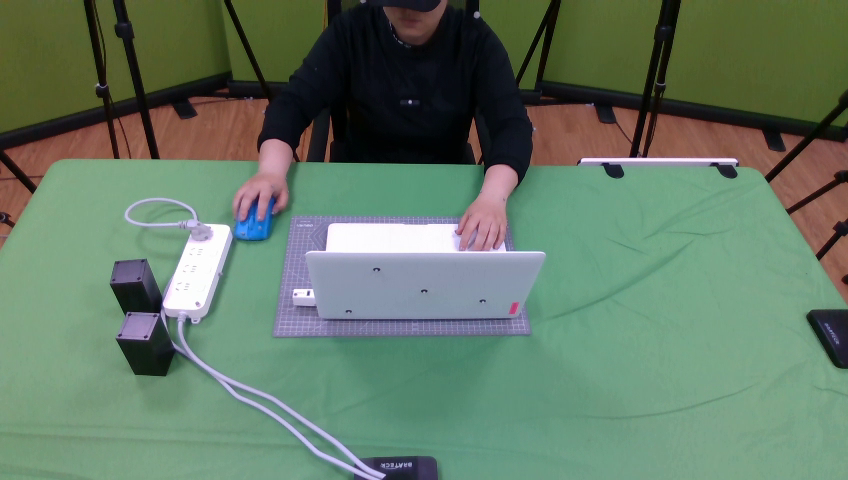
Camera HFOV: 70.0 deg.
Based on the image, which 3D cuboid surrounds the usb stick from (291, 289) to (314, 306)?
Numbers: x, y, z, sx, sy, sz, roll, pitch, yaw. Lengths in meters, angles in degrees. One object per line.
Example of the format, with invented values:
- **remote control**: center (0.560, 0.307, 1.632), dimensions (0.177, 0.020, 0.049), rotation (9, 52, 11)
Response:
- **usb stick**: center (-0.203, 0.102, 1.066), dimensions (0.059, 0.027, 0.021), rotation (4, 45, -5)

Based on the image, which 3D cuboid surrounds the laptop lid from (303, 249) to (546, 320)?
- **laptop lid**: center (-0.002, 0.077, 0.962), dimensions (0.357, 0.242, 0.013), rotation (1, 58, -5)

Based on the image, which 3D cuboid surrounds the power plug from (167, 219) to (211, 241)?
- **power plug**: center (-0.438, -0.017, 1.144), dimensions (0.072, 0.053, 0.035), rotation (11, 44, 6)

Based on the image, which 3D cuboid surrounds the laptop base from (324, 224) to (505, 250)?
- **laptop base**: center (-0.014, 0.055, 1.144), dimensions (0.355, 0.023, 0.234), rotation (0, 42, -4)

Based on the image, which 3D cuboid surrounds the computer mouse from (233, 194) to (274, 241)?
- **computer mouse**: center (-0.338, -0.048, 1.207), dimensions (0.063, 0.041, 0.116), rotation (5, 50, -3)

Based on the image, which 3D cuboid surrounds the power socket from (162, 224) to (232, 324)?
- **power socket**: center (-0.411, 0.052, 1.107), dimensions (0.072, 0.033, 0.225), rotation (4, 45, -1)
